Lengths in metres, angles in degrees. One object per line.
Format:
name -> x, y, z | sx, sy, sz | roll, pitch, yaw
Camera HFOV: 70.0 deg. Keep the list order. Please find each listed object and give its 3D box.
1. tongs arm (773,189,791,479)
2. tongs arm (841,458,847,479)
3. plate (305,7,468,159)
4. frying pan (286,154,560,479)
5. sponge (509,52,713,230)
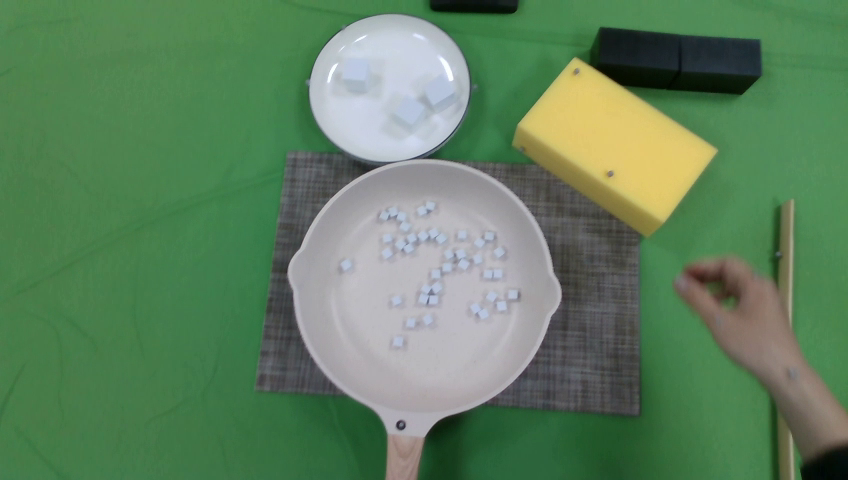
tongs arm -> 0.425, 0.127, 0.706 | 0.028, 0.028, 0.386 | 6, 78, 0
tongs arm -> 0.503, 0.145, 0.696 | 0.050, 0.026, 0.383 | 18, 80, 6
plate -> -0.047, -0.200, 0.783 | 0.208, 0.039, 0.206 | 0, 77, 1
frying pan -> -0.014, 0.143, 0.666 | 0.307, 0.103, 0.484 | 6, 69, 3
sponge -> 0.225, -0.122, 0.746 | 0.206, 0.061, 0.118 | 36, 78, 10
